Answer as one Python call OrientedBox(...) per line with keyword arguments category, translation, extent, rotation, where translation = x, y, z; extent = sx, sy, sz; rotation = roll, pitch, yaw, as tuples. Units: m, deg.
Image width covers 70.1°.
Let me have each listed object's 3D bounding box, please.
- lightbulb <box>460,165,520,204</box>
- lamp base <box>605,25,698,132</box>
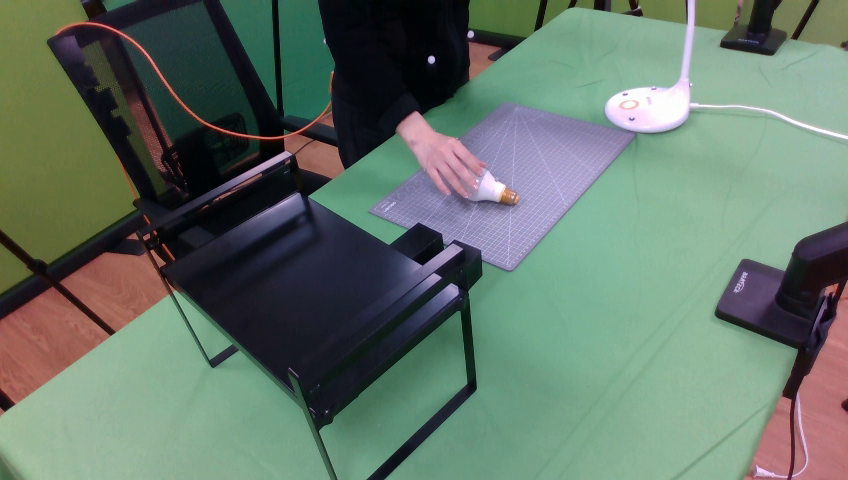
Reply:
OrientedBox(category="lightbulb", translation=(0.113, -0.090, 1.037), extent=(0.107, 0.059, 0.059), rotation=(23, 47, 10))
OrientedBox(category="lamp base", translation=(0.448, -0.321, 1.161), extent=(0.179, 0.181, 0.159), rotation=(-6, 41, -2))
